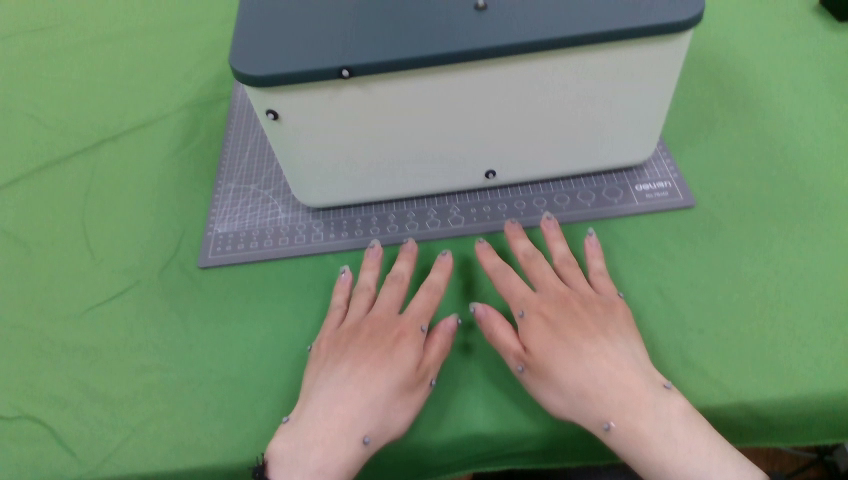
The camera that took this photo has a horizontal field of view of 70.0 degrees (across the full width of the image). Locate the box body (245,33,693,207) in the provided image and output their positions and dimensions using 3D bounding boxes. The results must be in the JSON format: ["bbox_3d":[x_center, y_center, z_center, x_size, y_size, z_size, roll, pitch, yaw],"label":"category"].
[{"bbox_3d":[0.032,-0.183,0.587,0.364,0.162,0.251,-8,49,0],"label":"box body"}]

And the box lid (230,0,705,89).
[{"bbox_3d":[0.023,-0.232,0.531,0.372,0.015,0.260,-7,50,0],"label":"box lid"}]
